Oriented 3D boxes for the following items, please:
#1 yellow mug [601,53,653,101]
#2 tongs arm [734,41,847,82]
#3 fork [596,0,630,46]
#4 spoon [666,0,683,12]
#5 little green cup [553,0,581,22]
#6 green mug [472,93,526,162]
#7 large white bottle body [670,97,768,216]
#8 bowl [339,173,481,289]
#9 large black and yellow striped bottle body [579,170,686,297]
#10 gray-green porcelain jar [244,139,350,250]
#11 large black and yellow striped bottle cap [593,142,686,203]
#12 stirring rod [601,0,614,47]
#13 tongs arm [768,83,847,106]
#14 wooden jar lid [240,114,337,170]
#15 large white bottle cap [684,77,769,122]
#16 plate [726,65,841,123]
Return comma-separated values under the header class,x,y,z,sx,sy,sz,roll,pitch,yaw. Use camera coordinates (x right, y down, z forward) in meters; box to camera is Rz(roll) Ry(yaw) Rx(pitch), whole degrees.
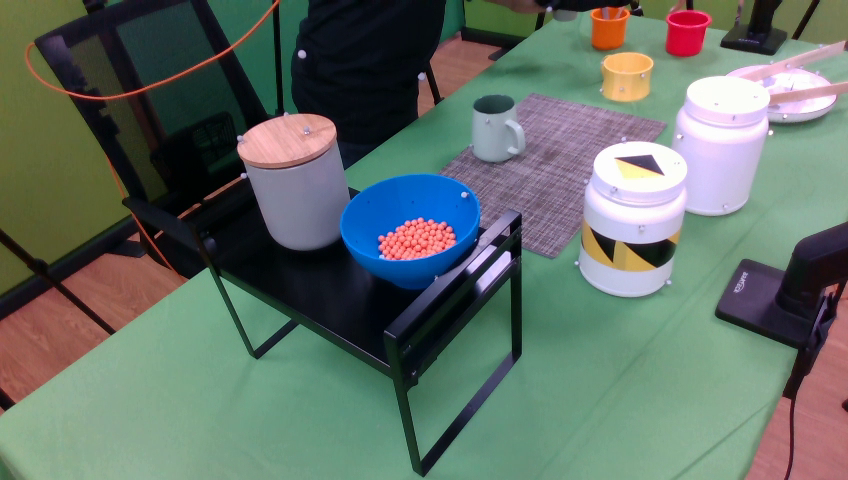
class,x,y,z,sx,sy,sz,roll,pitch,yaw
yellow mug,0.423,-0.354,1.293,0.100,0.064,0.129,-23,42,-16
tongs arm,0.712,-0.332,1.194,0.386,0.026,0.050,-18,45,-16
fork,0.481,-0.556,1.452,0.028,0.019,0.207,40,103,39
spoon,0.568,-0.566,1.265,0.021,0.194,0.041,28,42,8
little green cup,0.316,-0.511,1.340,0.061,0.039,0.061,-4,40,4
green mug,0.144,-0.202,1.122,0.093,0.105,0.124,-29,45,-23
large white bottle body,0.458,-0.146,0.952,0.130,0.185,0.130,-4,40,4
bowl,-0.011,0.001,0.660,0.151,0.077,0.150,-5,41,5
large black and yellow striped bottle body,0.287,-0.027,0.841,0.131,0.185,0.130,-4,40,4
gray-green porcelain jar,-0.144,-0.060,0.714,0.106,0.127,0.105,-4,41,4
large black and yellow striped bottle cap,0.280,-0.090,0.786,0.115,0.019,0.114,-5,41,5
stirring rod,0.439,-0.552,1.463,0.014,0.006,0.175,-7,83,2
tongs arm,0.738,-0.282,1.134,0.388,0.028,0.028,-9,47,-5
wooden jar lid,-0.149,-0.106,0.674,0.108,0.021,0.108,-6,39,5
large white bottle cap,0.448,-0.209,0.898,0.115,0.018,0.114,-4,40,4
plate,0.694,-0.282,1.189,0.207,0.039,0.206,-4,40,4
